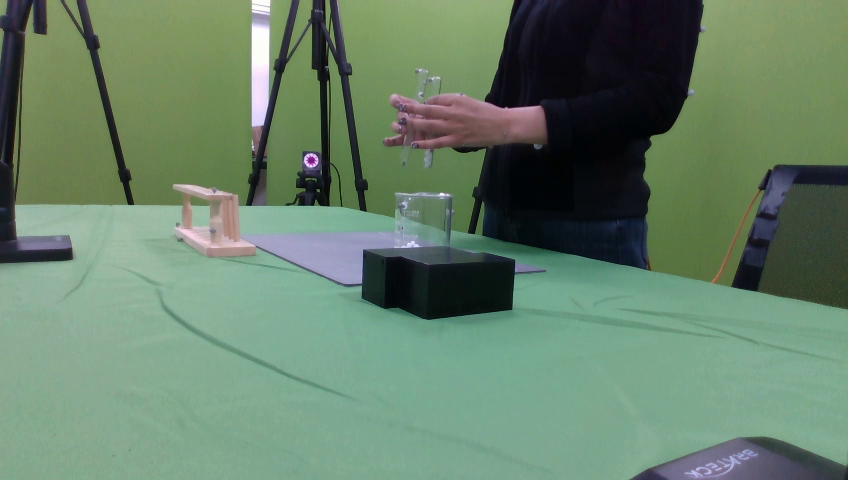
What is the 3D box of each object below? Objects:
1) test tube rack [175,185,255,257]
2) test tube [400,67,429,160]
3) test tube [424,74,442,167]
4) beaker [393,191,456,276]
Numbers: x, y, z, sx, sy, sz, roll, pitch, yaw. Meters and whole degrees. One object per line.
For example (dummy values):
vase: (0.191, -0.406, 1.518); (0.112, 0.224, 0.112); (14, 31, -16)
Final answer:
test tube rack: (-0.324, -0.035, 0.922); (0.067, 0.085, 0.241); (-2, 9, -31)
test tube: (-0.016, -0.202, 0.974); (0.017, 0.150, 0.017); (13, 14, -3)
test tube: (0.014, -0.195, 0.994); (0.017, 0.150, 0.017); (5, 9, -1)
beaker: (-0.003, -0.010, 0.749); (0.074, 0.100, 0.083); (-3, 8, -40)
